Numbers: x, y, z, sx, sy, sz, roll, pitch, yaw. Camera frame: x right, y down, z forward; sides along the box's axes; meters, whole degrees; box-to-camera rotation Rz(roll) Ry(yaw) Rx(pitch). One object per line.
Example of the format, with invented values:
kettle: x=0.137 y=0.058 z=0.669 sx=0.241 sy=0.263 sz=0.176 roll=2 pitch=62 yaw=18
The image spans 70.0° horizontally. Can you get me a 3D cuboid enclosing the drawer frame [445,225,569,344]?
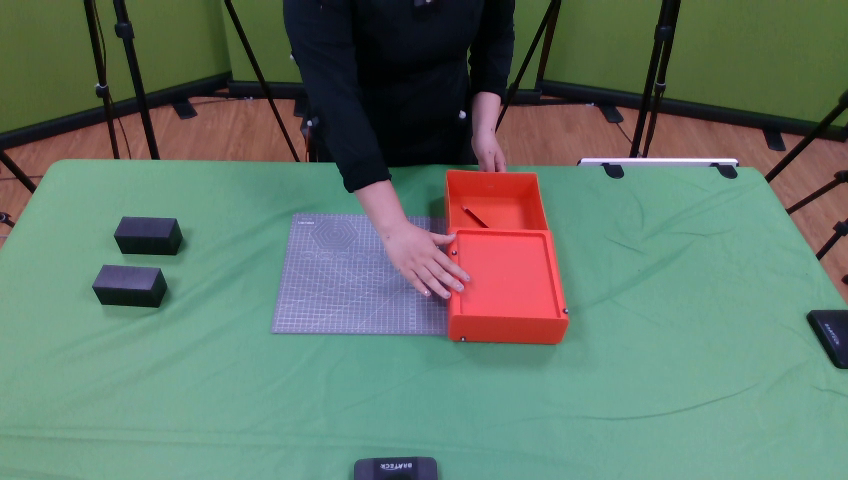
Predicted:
drawer frame: x=0.141 y=0.076 z=1.088 sx=0.202 sy=0.083 sz=0.212 roll=2 pitch=47 yaw=-3

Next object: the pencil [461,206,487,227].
pencil: x=0.134 y=-0.016 z=1.222 sx=0.012 sy=0.012 sz=0.193 roll=-25 pitch=50 yaw=-26

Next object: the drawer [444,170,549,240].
drawer: x=0.141 y=-0.049 z=1.216 sx=0.194 sy=0.073 sz=0.210 roll=2 pitch=44 yaw=-3
